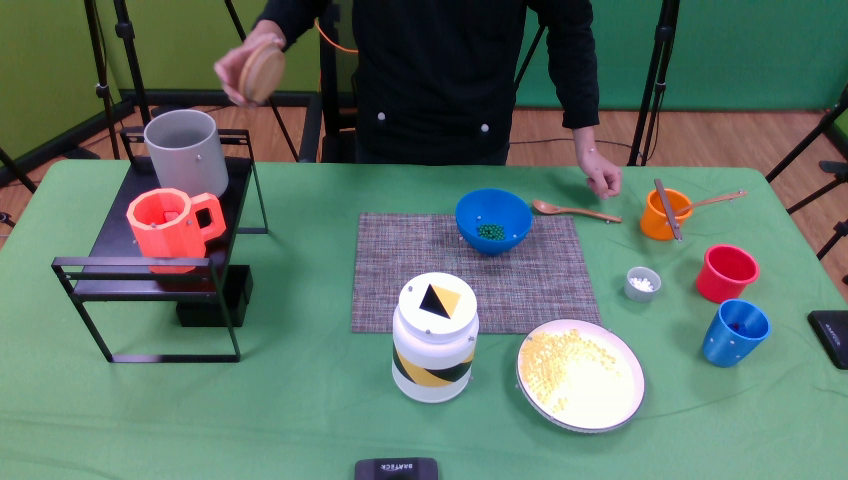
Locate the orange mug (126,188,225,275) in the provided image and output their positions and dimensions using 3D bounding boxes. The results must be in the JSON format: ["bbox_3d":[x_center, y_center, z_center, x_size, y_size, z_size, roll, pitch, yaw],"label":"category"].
[{"bbox_3d":[-0.357,-0.020,0.885,0.126,0.101,0.083,-29,54,-23],"label":"orange mug"}]

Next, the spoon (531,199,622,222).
[{"bbox_3d":[0.321,-0.060,1.279,0.194,0.022,0.041,8,32,5],"label":"spoon"}]

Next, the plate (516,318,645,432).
[{"bbox_3d":[0.253,0.221,0.992,0.209,0.038,0.208,2,46,-2],"label":"plate"}]

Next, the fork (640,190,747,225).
[{"bbox_3d":[0.533,-0.065,1.211,0.207,0.019,0.028,-22,28,39],"label":"fork"}]

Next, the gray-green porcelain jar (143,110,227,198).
[{"bbox_3d":[-0.375,-0.126,0.967,0.106,0.127,0.105,2,46,-2],"label":"gray-green porcelain jar"}]

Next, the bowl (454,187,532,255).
[{"bbox_3d":[0.131,-0.025,1.187,0.151,0.077,0.150,2,46,-2],"label":"bowl"}]

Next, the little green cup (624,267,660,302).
[{"bbox_3d":[0.406,0.084,1.135,0.061,0.039,0.061,3,45,-3],"label":"little green cup"}]

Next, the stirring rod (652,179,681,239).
[{"bbox_3d":[0.481,-0.065,1.204,0.014,0.006,0.175,1,46,-1],"label":"stirring rod"}]

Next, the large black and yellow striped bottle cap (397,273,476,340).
[{"bbox_3d":[0.018,0.094,0.878,0.115,0.019,0.114,3,46,-3],"label":"large black and yellow striped bottle cap"}]

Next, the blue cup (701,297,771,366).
[{"bbox_3d":[0.519,0.162,1.025,0.093,0.101,0.092,3,45,-3],"label":"blue cup"}]

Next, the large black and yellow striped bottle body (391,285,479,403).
[{"bbox_3d":[0.015,0.153,0.938,0.131,0.185,0.130,2,46,-2],"label":"large black and yellow striped bottle body"}]

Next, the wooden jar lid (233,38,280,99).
[{"bbox_3d":[-0.271,-0.276,0.991,0.020,0.108,0.108,33,50,3],"label":"wooden jar lid"}]
